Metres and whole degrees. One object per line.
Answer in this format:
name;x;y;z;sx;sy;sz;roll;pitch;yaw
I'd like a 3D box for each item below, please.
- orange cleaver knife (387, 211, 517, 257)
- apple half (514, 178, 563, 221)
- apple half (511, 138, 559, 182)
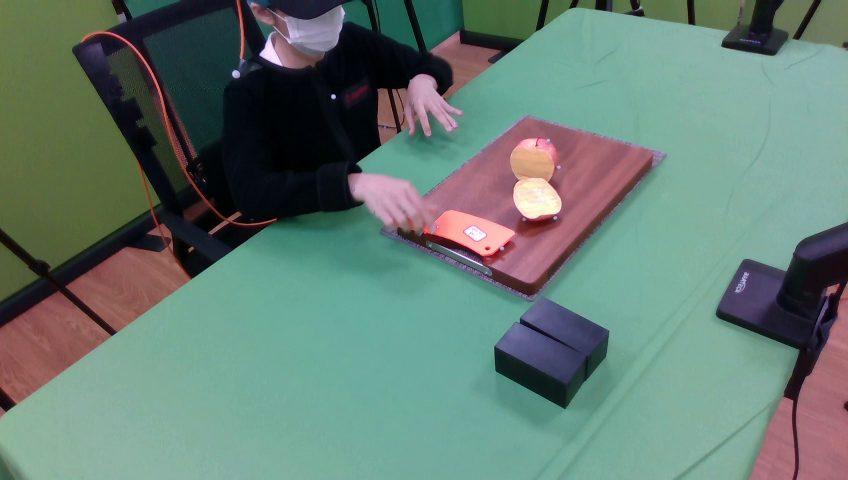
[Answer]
orange cleaver knife;0.041;-0.020;0.953;0.210;0.012;0.077;16;48;29
apple half;0.177;-0.060;0.960;0.081;0.033;0.081;4;61;-6
apple half;0.192;-0.137;1.024;0.080;0.075;0.053;11;40;28
